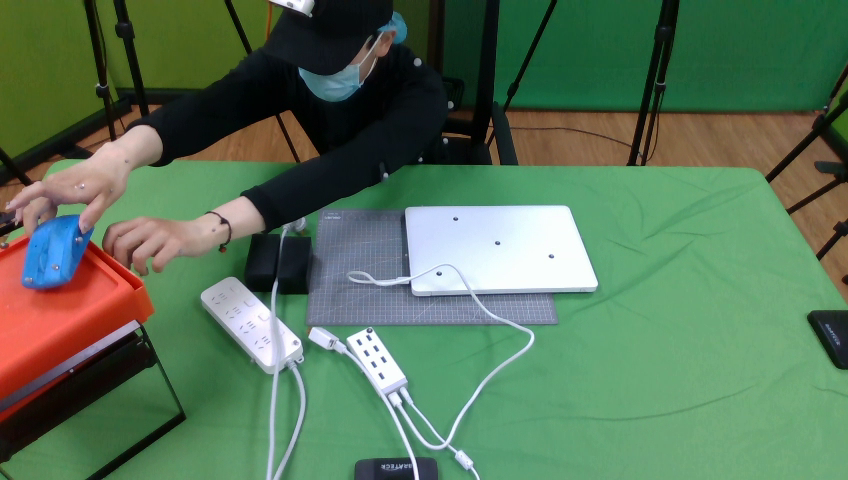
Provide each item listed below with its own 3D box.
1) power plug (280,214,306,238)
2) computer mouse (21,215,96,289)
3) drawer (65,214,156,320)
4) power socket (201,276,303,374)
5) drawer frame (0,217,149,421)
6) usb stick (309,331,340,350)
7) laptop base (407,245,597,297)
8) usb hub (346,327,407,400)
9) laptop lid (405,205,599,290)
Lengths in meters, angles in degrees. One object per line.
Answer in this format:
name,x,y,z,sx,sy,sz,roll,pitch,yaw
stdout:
power plug,-0.260,-0.020,1.184,0.035,0.053,0.072,16,56,32
computer mouse,-0.474,0.011,0.783,0.063,0.041,0.116,-7,49,3
drawer,-0.502,0.084,0.790,0.193,0.073,0.211,32,52,23
power socket,-0.297,0.141,1.034,0.225,0.033,0.072,38,55,27
drawer frame,-0.510,0.093,0.780,0.201,0.083,0.213,31,52,23
usb stick,-0.173,0.167,1.022,0.059,0.021,0.027,10,1,26
laptop base,0.143,0.018,1.196,0.355,0.023,0.234,-1,43,-6
usb hub,-0.078,0.202,0.998,0.049,0.025,0.124,-23,53,-24
laptop lid,0.143,0.008,1.189,0.357,0.013,0.240,0,44,-5
